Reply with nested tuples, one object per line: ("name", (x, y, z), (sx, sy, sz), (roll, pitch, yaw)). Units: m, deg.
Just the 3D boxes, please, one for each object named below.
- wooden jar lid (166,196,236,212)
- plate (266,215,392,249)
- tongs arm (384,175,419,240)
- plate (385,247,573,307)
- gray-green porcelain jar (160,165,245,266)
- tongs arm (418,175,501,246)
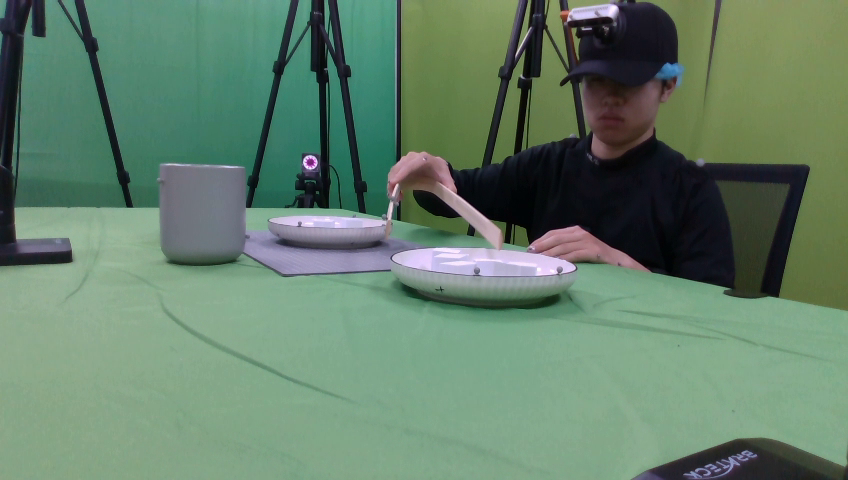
("wooden jar lid", (-0.369, -0.060, 1.001), (0.108, 0.020, 0.108), (3, 6, 0))
("plate", (-0.159, -0.015, 1.019), (0.209, 0.038, 0.209), (3, 7, 0))
("tongs arm", (-0.028, -0.057, 0.881), (0.051, 0.026, 0.384), (2, 14, -3))
("plate", (0.060, 0.041, 0.678), (0.208, 0.039, 0.207), (3, 7, 0))
("gray-green porcelain jar", (-0.291, -0.034, 0.799), (0.106, 0.126, 0.106), (2, 8, 0))
("tongs arm", (0.044, -0.053, 0.889), (0.028, 0.028, 0.386), (-4, 16, -12))
